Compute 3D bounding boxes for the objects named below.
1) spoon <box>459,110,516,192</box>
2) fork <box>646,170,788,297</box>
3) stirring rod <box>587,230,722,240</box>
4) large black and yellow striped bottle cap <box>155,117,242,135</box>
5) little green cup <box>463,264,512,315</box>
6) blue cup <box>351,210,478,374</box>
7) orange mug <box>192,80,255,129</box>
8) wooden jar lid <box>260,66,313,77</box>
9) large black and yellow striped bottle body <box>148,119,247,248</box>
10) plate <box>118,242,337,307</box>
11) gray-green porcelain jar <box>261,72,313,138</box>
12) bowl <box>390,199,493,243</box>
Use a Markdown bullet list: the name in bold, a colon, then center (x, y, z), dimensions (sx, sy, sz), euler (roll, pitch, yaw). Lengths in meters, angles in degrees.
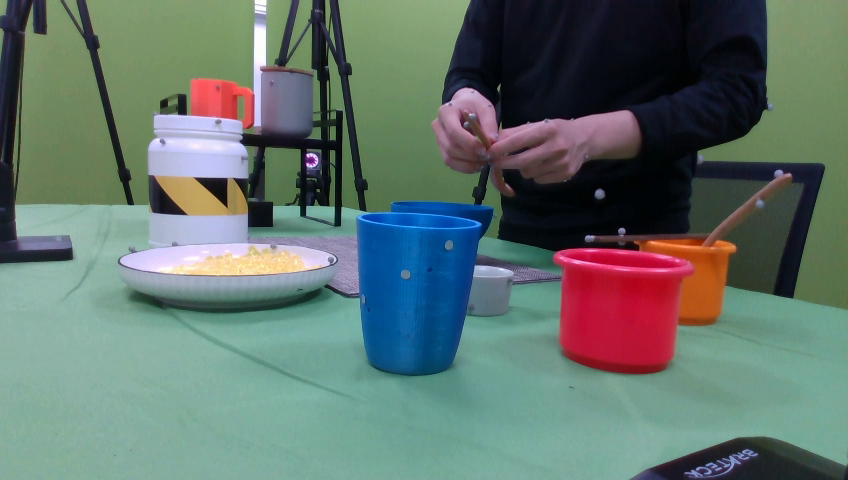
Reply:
- **spoon**: center (0.079, -0.109, 0.751), dimensions (0.041, 0.021, 0.194), euler (47, -1, 33)
- **fork**: center (0.256, 0.004, 0.543), dimensions (0.028, 0.018, 0.207), euler (3, -36, -9)
- **stirring rod**: center (0.227, -0.005, 0.585), dimensions (0.177, 0.006, 0.014), euler (-2, 7, -28)
- **large black and yellow striped bottle cap**: center (-0.313, -0.159, 0.845), dimensions (0.115, 0.019, 0.115), euler (3, 9, 0)
- **little green cup**: center (0.053, 0.047, 0.579), dimensions (0.061, 0.038, 0.061), euler (3, 8, 0)
- **blue cup**: center (-0.009, 0.034, 0.414), dimensions (0.093, 0.100, 0.092), euler (3, 8, 0)
- **orange mug**: center (-0.389, -0.257, 1.172), dimensions (0.126, 0.100, 0.083), euler (-1, 6, 9)
- **wooden jar lid**: center (-0.283, -0.339, 1.244), dimensions (0.108, 0.020, 0.108), euler (6, 9, -1)
- **large black and yellow striped bottle body**: center (-0.318, -0.076, 0.855), dimensions (0.131, 0.184, 0.130), euler (2, 7, 0)
- **plate**: center (-0.194, 0.033, 0.615), dimensions (0.209, 0.038, 0.209), euler (2, 7, 0)
- **gray-green porcelain jar**: center (-0.284, -0.277, 1.253), dimensions (0.106, 0.126, 0.106), euler (2, 8, 0)
- **bowl**: center (0.023, -0.015, 0.874), dimensions (0.151, 0.077, 0.151), euler (3, 7, 0)
